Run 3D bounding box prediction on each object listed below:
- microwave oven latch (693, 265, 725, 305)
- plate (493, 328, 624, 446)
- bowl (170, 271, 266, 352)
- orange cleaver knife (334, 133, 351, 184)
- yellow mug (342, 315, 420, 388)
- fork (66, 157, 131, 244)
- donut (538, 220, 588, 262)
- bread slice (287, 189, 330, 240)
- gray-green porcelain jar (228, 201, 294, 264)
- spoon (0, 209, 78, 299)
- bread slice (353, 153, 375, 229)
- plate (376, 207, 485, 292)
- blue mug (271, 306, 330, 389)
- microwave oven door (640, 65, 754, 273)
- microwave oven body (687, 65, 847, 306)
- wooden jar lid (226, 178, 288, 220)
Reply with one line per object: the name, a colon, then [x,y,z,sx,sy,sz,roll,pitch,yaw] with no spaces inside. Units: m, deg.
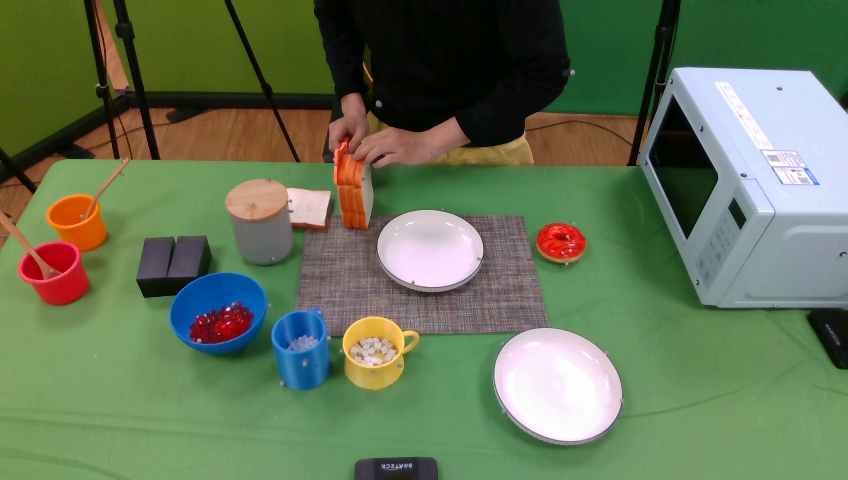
microwave oven latch: [0.522,0.081,1.115,0.030,0.029,0.078,2,46,-1]
plate: [0.213,0.236,0.974,0.208,0.039,0.206,2,46,-2]
bowl: [-0.333,0.132,1.006,0.151,0.077,0.150,2,46,-2]
orange cleaver knife: [-0.166,-0.169,1.234,0.012,0.077,0.210,3,22,0]
yellow mug: [-0.068,0.177,0.990,0.131,0.064,0.099,-15,50,-19]
fork: [-0.608,-0.074,1.132,0.207,0.019,0.028,-52,48,10]
donut: [0.273,0.000,1.198,0.099,0.048,0.098,0,46,0]
bread slice: [-0.265,-0.059,1.250,0.132,0.019,0.104,16,53,-13]
gray-green porcelain jar: [-0.300,-0.027,1.126,0.106,0.127,0.105,2,46,-2]
spoon: [-0.668,0.021,1.040,0.041,0.021,0.194,-41,105,-30]
bread slice: [-0.119,-0.103,1.207,0.018,0.135,0.106,1,47,5]
plate: [0.012,0.021,1.159,0.209,0.038,0.208,2,47,-2]
blue mug: [-0.188,0.163,0.969,0.082,0.106,0.116,15,47,10]
microwave oven door: [0.523,-0.147,1.193,0.039,0.245,0.353,0,47,-3]
microwave oven body: [0.669,-0.111,1.176,0.326,0.261,0.439,0,46,-3]
wooden jar lid: [-0.296,-0.070,1.081,0.108,0.021,0.107,1,45,0]
